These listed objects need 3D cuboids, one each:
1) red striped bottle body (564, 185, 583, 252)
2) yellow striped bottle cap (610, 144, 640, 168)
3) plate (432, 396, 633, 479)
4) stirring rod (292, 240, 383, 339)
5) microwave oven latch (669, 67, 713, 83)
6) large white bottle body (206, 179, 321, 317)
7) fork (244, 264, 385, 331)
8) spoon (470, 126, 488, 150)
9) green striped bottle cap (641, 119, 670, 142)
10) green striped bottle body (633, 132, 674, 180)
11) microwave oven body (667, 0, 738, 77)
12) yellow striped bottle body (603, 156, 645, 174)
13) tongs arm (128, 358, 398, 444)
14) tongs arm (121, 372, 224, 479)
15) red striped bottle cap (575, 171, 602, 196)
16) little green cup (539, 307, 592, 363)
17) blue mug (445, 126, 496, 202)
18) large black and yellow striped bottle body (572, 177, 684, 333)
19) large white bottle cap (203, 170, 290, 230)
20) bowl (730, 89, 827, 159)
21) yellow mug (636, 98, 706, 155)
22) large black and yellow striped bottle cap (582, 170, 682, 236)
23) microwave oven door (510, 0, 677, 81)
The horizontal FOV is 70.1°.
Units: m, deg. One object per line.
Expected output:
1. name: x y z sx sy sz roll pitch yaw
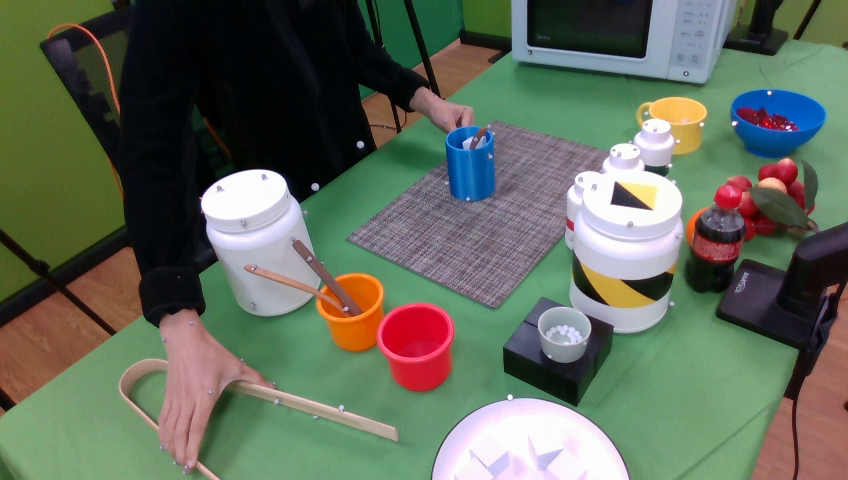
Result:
1. red striped bottle body: 0.247 -0.041 0.910 0.063 0.120 0.062 -3 39 3
2. yellow striped bottle cap: 0.307 -0.128 0.923 0.044 0.019 0.044 -5 40 5
3. plate: 0.112 0.261 0.634 0.209 0.038 0.208 -5 40 4
4. stirring rod: -0.118 0.068 0.825 0.176 0.006 0.014 48 60 -3
5. microwave oven latch: 0.556 -0.349 1.261 0.078 0.029 0.030 16 46 27
6. large white bottle body: -0.233 0.007 0.877 0.130 0.185 0.130 -5 40 4
7. fork: -0.142 0.078 0.806 0.209 0.018 0.028 30 33 -24
8. spoon: 0.080 -0.145 0.999 0.042 0.194 0.021 -8 73 -6
9. green striped bottle cap: 0.371 -0.175 0.968 0.044 0.020 0.044 -5 41 5
10. green striped bottle body: 0.376 -0.135 1.001 0.063 0.120 0.063 -5 41 5
11. microwave oven body: 0.462 -0.552 1.369 0.439 0.261 0.326 15 45 26
12. yellow striped bottle body: 0.313 -0.089 0.956 0.063 0.121 0.062 -4 40 4
13. tongs arm: -0.213 0.205 0.756 0.382 0.026 0.051 11 44 23
14. tongs arm: -0.253 0.252 0.704 0.384 0.028 0.028 22 53 33
15. red striped bottle cap: 0.242 -0.081 0.876 0.044 0.018 0.044 -5 43 5
16. little green cup: 0.167 0.114 0.721 0.061 0.039 0.061 -4 43 4
17. blue mug: 0.078 -0.142 1.062 0.082 0.106 0.115 -13 40 -6
18. large black and yellow striped bottle body: 0.262 0.017 0.788 0.131 0.185 0.130 -5 40 4
19. large white bottle cap: -0.241 -0.057 0.822 0.115 0.018 0.114 -4 40 4
20. bowl: 0.615 -0.197 1.069 0.151 0.077 0.150 -5 40 4
21. yellow mug: 0.453 -0.217 1.128 0.100 0.064 0.129 -34 46 -27
22. large black and yellow striped bottle cap: 0.252 -0.048 0.735 0.115 0.019 0.114 -3 40 3
23. microwave oven door: 0.353 -0.477 1.289 0.353 0.245 0.039 15 44 25
